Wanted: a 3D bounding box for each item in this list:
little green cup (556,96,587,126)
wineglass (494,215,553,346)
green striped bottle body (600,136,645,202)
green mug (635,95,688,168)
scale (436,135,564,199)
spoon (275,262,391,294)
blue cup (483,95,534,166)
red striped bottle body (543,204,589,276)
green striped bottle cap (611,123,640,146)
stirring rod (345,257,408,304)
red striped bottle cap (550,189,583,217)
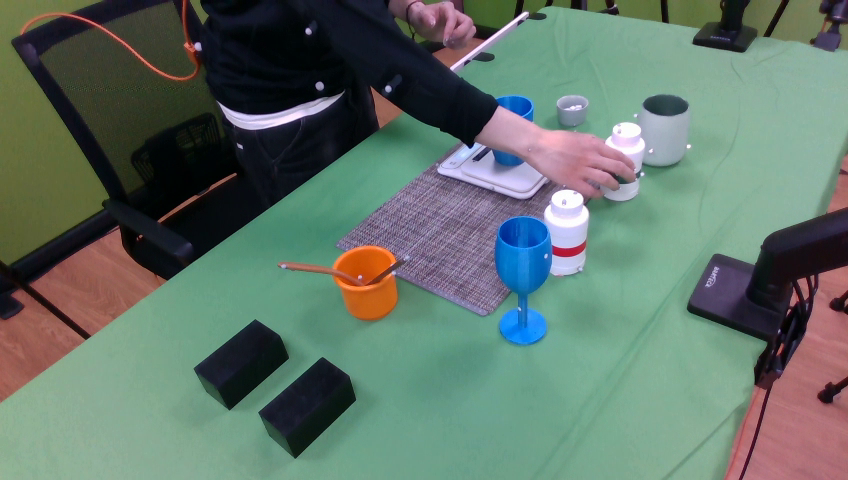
[{"bbox_3d":[0.295,-0.258,1.214,0.061,0.039,0.061,-4,42,4],"label":"little green cup"},{"bbox_3d":[0.127,0.055,0.770,0.074,0.173,0.073,-4,40,4],"label":"wineglass"},{"bbox_3d":[0.326,-0.127,0.996,0.063,0.120,0.063,-4,40,4],"label":"green striped bottle body"},{"bbox_3d":[0.421,-0.201,1.081,0.092,0.105,0.125,5,42,15],"label":"green mug"},{"bbox_3d":[0.137,-0.141,1.101,0.199,0.032,0.149,22,48,30],"label":"scale"},{"bbox_3d":[-0.120,0.050,0.830,0.041,0.195,0.021,31,97,45],"label":"spoon"},{"bbox_3d":[0.150,-0.187,1.051,0.092,0.101,0.092,-7,41,6],"label":"blue cup"},{"bbox_3d":[0.205,-0.011,0.877,0.063,0.120,0.062,-4,40,4],"label":"red striped bottle body"},{"bbox_3d":[0.322,-0.168,0.963,0.044,0.020,0.044,-3,42,3],"label":"green striped bottle cap"},{"bbox_3d":[-0.067,0.057,0.814,0.014,0.175,0.006,-24,82,-38],"label":"stirring rod"},{"bbox_3d":[0.199,-0.052,0.843,0.044,0.018,0.044,-1,42,1],"label":"red striped bottle cap"}]
